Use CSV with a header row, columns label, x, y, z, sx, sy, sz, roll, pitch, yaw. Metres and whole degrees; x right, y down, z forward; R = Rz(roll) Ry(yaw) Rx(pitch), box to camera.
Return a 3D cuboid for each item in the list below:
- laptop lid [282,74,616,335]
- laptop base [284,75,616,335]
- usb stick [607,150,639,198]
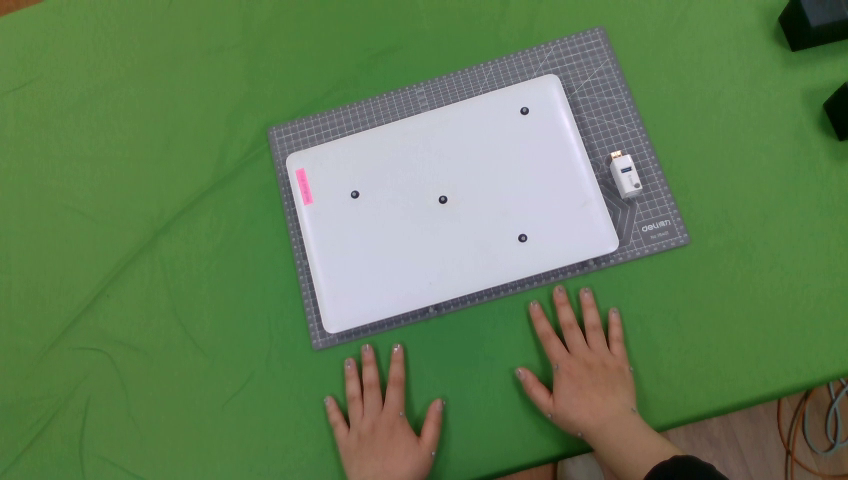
label,x,y,z,sx,sy,sz,roll,pitch,yaw
laptop lid,0.020,-0.046,0.714,0.357,0.013,0.240,-15,76,3
laptop base,0.021,-0.046,0.726,0.354,0.023,0.234,-17,77,2
usb stick,0.228,-0.080,0.703,0.021,0.027,0.059,-18,70,7
